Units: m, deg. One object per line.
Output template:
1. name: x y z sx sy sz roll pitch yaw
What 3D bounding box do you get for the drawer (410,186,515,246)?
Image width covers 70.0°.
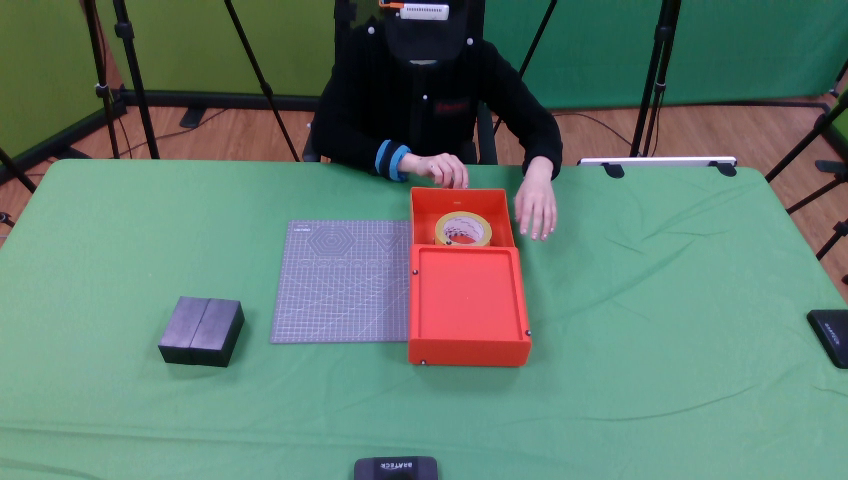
1. drawer: 0.071 -0.011 1.173 0.195 0.073 0.210 1 45 -4

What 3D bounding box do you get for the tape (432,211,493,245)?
1. tape: 0.073 -0.002 1.173 0.117 0.053 0.116 3 43 -2

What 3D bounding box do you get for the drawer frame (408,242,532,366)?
1. drawer frame: 0.073 0.107 1.053 0.202 0.083 0.212 2 47 -3
